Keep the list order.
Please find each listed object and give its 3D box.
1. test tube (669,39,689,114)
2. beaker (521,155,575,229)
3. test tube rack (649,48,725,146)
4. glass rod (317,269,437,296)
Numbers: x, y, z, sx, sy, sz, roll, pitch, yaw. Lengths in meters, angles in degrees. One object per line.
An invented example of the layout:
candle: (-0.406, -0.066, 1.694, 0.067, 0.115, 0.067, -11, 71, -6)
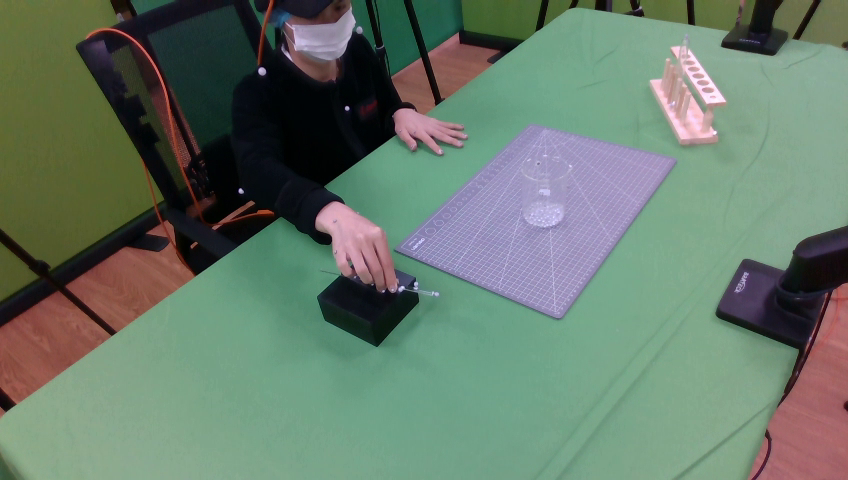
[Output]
test tube: (0.482, -0.308, 1.146, 0.017, 0.151, 0.017, -5, 42, 5)
beaker: (0.197, -0.075, 0.969, 0.084, 0.101, 0.073, -6, 40, 2)
test tube rack: (0.508, -0.285, 1.186, 0.067, 0.085, 0.241, -4, 40, 6)
glass rod: (-0.070, 0.058, 0.839, 0.198, 0.008, 0.008, 9, 42, 29)
